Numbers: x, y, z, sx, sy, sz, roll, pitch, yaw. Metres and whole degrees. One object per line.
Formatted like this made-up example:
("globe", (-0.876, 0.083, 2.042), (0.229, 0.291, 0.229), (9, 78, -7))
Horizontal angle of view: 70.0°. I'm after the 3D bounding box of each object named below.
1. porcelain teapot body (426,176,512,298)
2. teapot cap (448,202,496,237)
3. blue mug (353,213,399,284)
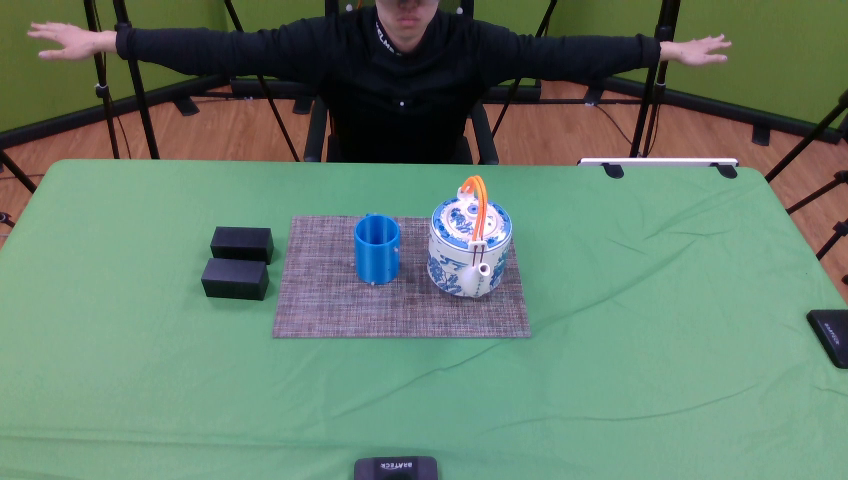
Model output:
("porcelain teapot body", (0.085, 0.009, 1.051), (0.145, 0.226, 0.204), (-5, 47, -9))
("teapot cap", (0.083, -0.038, 1.041), (0.085, 0.044, 0.084), (1, 48, 0))
("blue mug", (-0.093, 0.006, 1.123), (0.082, 0.106, 0.115), (-12, 48, -15))
